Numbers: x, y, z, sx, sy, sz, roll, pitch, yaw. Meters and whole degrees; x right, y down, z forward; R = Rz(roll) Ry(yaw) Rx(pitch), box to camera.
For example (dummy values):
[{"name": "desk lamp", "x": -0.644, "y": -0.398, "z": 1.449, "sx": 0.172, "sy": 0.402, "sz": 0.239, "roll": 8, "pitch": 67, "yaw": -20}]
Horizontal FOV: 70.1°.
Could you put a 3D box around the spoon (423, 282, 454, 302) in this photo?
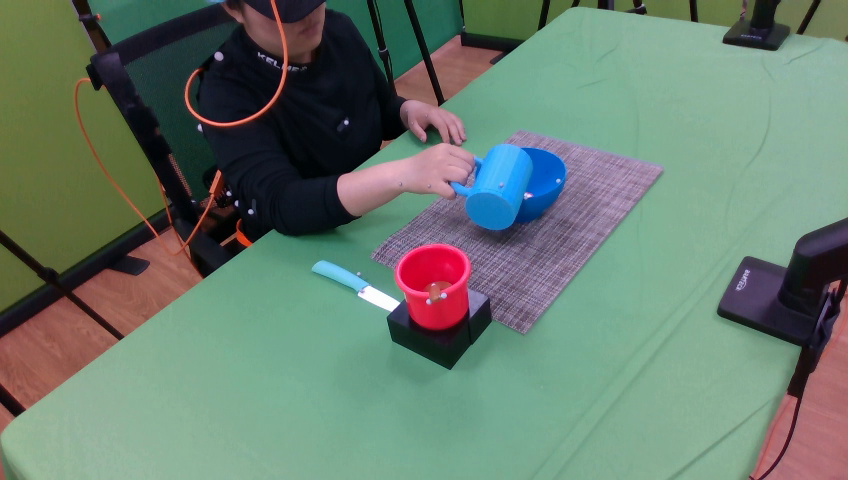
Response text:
[{"name": "spoon", "x": 0.015, "y": 0.062, "z": 0.733, "sx": 0.041, "sy": 0.021, "sz": 0.194, "roll": -6, "pitch": -4, "yaw": 3}]

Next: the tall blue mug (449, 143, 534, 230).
[{"name": "tall blue mug", "x": 0.100, "y": -0.088, "z": 0.886, "sx": 0.107, "sy": 0.077, "sz": 0.108, "roll": 36, "pitch": 51, "yaw": -14}]

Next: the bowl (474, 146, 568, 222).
[{"name": "bowl", "x": 0.161, "y": -0.083, "z": 1.001, "sx": 0.151, "sy": 0.077, "sz": 0.150, "roll": -5, "pitch": 40, "yaw": 5}]

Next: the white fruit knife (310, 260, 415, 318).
[{"name": "white fruit knife", "x": -0.094, "y": 0.074, "z": 0.920, "sx": 0.206, "sy": 0.016, "sz": 0.027, "roll": 24, "pitch": 77, "yaw": 30}]
